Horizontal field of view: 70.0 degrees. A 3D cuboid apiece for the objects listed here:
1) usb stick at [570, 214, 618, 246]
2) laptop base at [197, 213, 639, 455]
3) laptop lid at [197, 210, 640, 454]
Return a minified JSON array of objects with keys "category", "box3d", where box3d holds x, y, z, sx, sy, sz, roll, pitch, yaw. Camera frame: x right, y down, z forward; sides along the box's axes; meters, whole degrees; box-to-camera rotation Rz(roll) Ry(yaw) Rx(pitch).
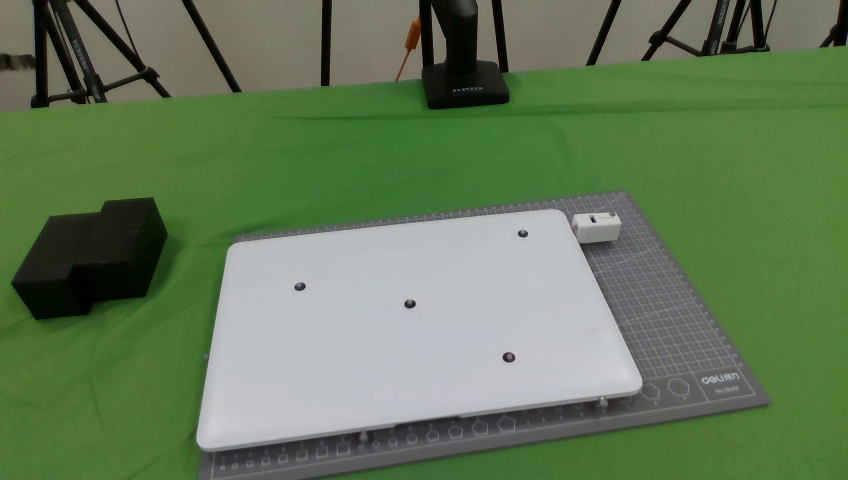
[{"category":"usb stick","box3d":[0.168,-0.010,0.627,0.059,0.027,0.021,-7,43,-2]},{"category":"laptop base","box3d":[-0.013,0.071,0.560,0.355,0.023,0.233,-6,44,-5]},{"category":"laptop lid","box3d":[-0.013,0.064,0.550,0.357,0.013,0.239,-5,43,-3]}]
